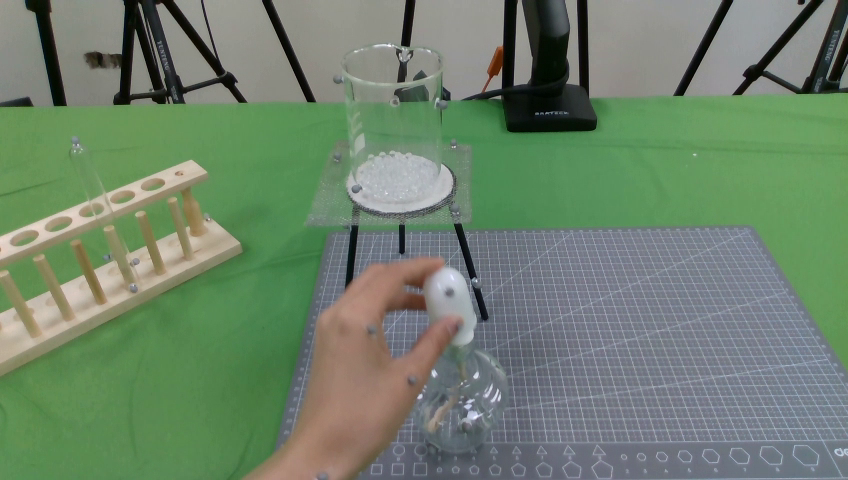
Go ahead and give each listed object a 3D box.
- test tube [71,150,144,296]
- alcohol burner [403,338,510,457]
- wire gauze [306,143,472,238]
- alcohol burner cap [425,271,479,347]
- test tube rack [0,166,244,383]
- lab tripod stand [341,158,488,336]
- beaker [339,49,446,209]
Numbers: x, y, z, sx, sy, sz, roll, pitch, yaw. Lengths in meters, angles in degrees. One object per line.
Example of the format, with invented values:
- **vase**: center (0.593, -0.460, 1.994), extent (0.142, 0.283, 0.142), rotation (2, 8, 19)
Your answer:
- **test tube**: center (-0.275, -0.010, 0.530), extent (0.017, 0.151, 0.017), rotation (-1, 37, 1)
- **alcohol burner**: center (0.023, 0.098, 0.425), extent (0.078, 0.120, 0.077), rotation (-1, 40, 1)
- **wire gauze**: center (-0.022, -0.043, 0.482), extent (0.121, 0.011, 0.124), rotation (1, 40, 3)
- **alcohol burner cap**: center (0.017, 0.040, 0.383), extent (0.034, 0.048, 0.033), rotation (-7, 40, 6)
- **test tube rack**: center (-0.299, 0.024, 0.560), extent (0.242, 0.086, 0.066), rotation (-31, 46, -32)
- **lab tripod stand**: center (-0.012, 0.008, 0.524), extent (0.148, 0.132, 0.147), rotation (0, 37, 0)
- **beaker**: center (-0.021, -0.082, 0.453), extent (0.074, 0.101, 0.083), rotation (7, 39, 8)
